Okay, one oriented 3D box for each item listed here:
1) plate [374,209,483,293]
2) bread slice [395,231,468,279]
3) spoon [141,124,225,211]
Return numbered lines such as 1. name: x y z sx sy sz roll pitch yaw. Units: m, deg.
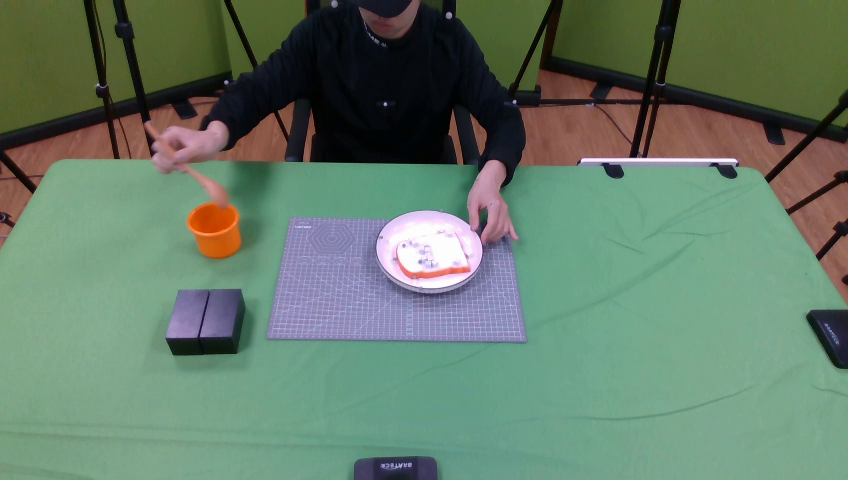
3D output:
1. plate: 0.009 0.024 1.160 0.209 0.038 0.208 2 46 -2
2. bread slice: 0.011 0.030 1.159 0.132 0.019 0.104 -9 47 -14
3. spoon: -0.419 -0.125 1.057 0.021 0.194 0.041 -27 29 32
